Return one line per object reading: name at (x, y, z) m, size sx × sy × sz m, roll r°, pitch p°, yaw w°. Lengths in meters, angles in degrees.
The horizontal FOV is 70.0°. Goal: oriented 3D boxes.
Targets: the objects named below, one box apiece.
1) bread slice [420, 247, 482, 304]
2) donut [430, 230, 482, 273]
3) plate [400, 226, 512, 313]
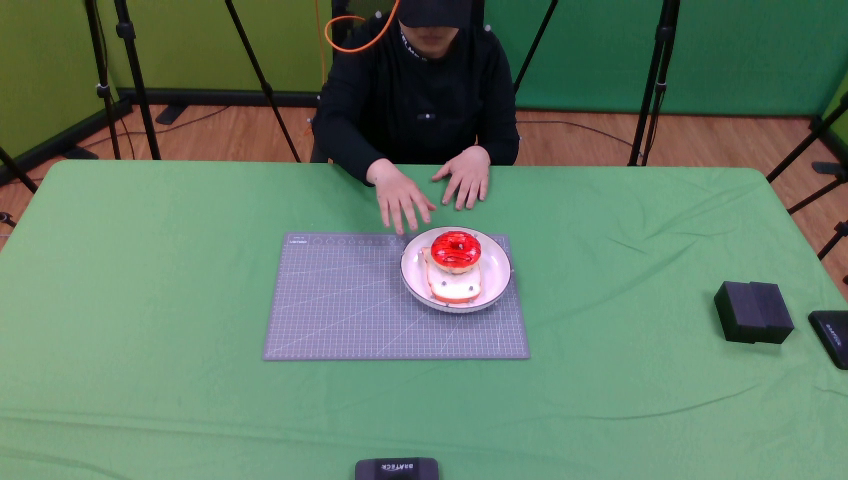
bread slice at (0.056, 0.062, 1.131) m, size 0.107 × 0.018 × 0.133 m, roll -6°, pitch 46°, yaw -8°
donut at (0.060, 0.020, 1.132) m, size 0.099 × 0.048 × 0.098 m, roll 0°, pitch 43°, yaw 0°
plate at (0.057, 0.057, 1.134) m, size 0.209 × 0.038 × 0.208 m, roll 2°, pitch 46°, yaw -2°
